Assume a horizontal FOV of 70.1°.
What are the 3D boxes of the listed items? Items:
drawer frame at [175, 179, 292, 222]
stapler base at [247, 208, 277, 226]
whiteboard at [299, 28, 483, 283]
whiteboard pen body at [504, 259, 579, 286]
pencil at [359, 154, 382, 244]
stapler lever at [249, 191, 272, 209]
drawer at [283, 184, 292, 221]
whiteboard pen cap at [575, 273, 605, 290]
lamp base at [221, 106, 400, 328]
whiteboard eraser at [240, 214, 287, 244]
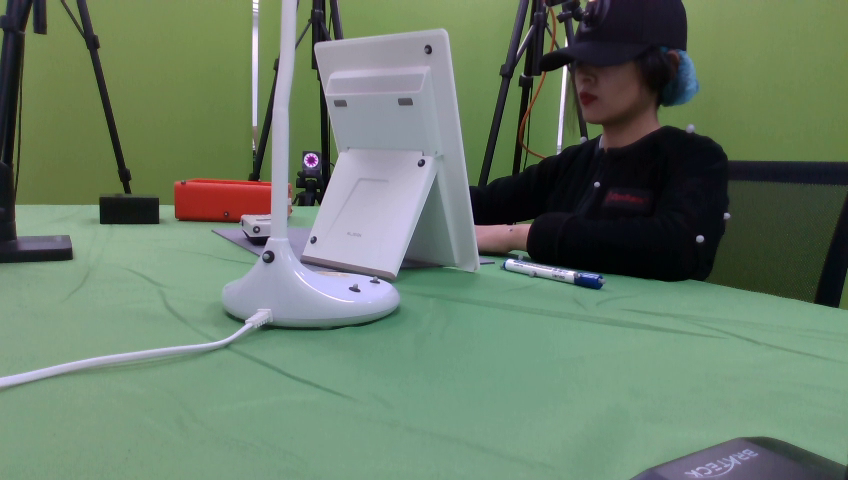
[{"bbox_3d":[-0.402,-0.087,1.311,0.214,0.082,0.201,1,8,-9],"label":"drawer frame"},{"bbox_3d":[-0.350,-0.054,1.310,0.041,0.024,0.130,-1,13,-3],"label":"stapler base"},{"bbox_3d":[-0.075,-0.082,0.741,0.216,0.305,0.144,9,29,38],"label":"whiteboard"},{"bbox_3d":[0.157,0.042,0.764,0.017,0.017,0.140,-4,11,-41],"label":"whiteboard pen body"},{"bbox_3d":[-0.093,-0.073,1.029,0.012,0.193,0.012,6,-34,4],"label":"pencil"},{"bbox_3d":[-0.352,-0.086,1.306,0.027,0.040,0.118,-1,5,-3],"label":"stapler lever"},{"bbox_3d":[-0.397,-0.086,1.314,0.212,0.073,0.194,1,8,-9],"label":"drawer"},{"bbox_3d":[0.197,0.048,0.719,0.018,0.018,0.033,-4,11,-41],"label":"whiteboard pen cap"},{"bbox_3d":[-0.101,-0.023,0.531,0.160,0.180,0.179,4,10,10],"label":"lamp base"},{"bbox_3d":[-0.256,-0.018,0.958,0.056,0.042,0.112,0,8,-25],"label":"whiteboard eraser"}]
